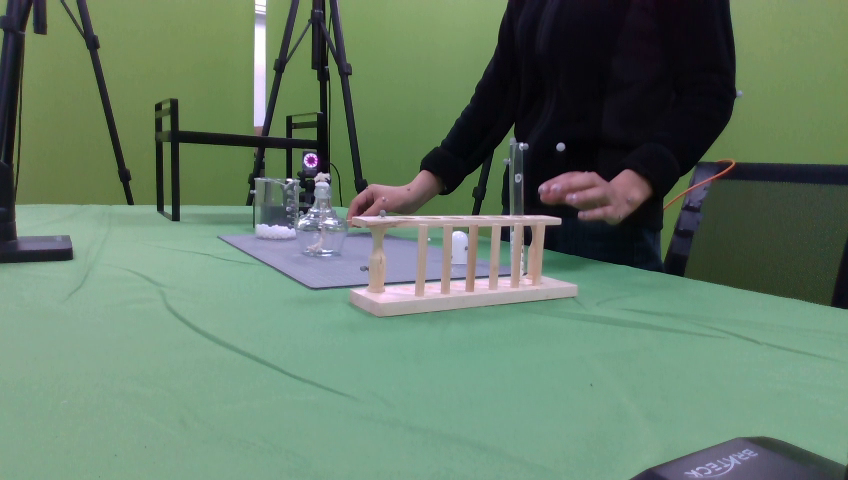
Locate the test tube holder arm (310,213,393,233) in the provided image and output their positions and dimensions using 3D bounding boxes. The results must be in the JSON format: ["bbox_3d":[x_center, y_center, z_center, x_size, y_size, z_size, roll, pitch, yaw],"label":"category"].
[{"bbox_3d":[-0.129,-0.033,1.110,0.179,0.015,0.013,-11,24,-40],"label":"test tube holder arm"}]

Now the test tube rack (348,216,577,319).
[{"bbox_3d":[0.048,0.021,0.619,0.244,0.085,0.066,-2,9,-31],"label":"test tube rack"}]

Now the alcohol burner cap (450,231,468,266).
[{"bbox_3d":[0.046,0.012,0.839,0.034,0.048,0.034,3,6,0],"label":"alcohol burner cap"}]

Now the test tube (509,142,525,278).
[{"bbox_3d":[0.102,-0.031,0.663,0.017,0.150,0.017,-2,9,1],"label":"test tube"}]

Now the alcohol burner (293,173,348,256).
[{"bbox_3d":[-0.147,-0.036,0.859,0.078,0.119,0.078,4,8,0],"label":"alcohol burner"}]

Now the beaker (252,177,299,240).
[{"bbox_3d":[-0.245,-0.052,1.005,0.074,0.100,0.083,-3,10,-32],"label":"beaker"}]

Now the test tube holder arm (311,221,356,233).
[{"bbox_3d":[-0.160,-0.024,1.077,0.088,0.015,0.010,-10,23,-38],"label":"test tube holder arm"}]
